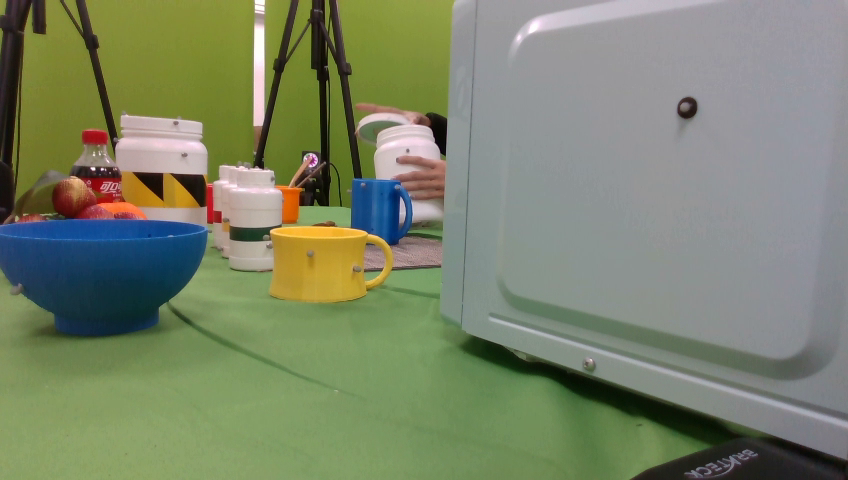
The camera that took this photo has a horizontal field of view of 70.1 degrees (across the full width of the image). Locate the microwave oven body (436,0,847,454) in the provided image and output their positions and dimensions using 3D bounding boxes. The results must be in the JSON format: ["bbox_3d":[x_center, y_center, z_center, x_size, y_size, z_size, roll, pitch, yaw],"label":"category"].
[{"bbox_3d":[0.279,-0.040,0.464,0.444,0.260,0.324,-3,9,-41],"label":"microwave oven body"}]

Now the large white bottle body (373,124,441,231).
[{"bbox_3d":[-0.029,-0.117,1.157,0.131,0.184,0.130,-7,-7,-1],"label":"large white bottle body"}]

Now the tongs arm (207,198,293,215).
[{"bbox_3d":[-0.423,-0.084,1.472,0.050,0.026,0.386,1,6,21],"label":"tongs arm"}]

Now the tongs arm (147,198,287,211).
[{"bbox_3d":[-0.503,-0.090,1.513,0.028,0.028,0.389,-1,4,38],"label":"tongs arm"}]

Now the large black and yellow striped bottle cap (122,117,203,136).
[{"bbox_3d":[-0.399,-0.174,0.927,0.115,0.019,0.115,5,9,-1],"label":"large black and yellow striped bottle cap"}]

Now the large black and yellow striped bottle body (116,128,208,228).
[{"bbox_3d":[-0.404,-0.089,0.937,0.131,0.184,0.130,3,7,0],"label":"large black and yellow striped bottle body"}]

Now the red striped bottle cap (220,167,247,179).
[{"bbox_3d":[-0.281,-0.099,0.901,0.044,0.017,0.044,-1,5,0],"label":"red striped bottle cap"}]

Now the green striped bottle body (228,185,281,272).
[{"bbox_3d":[-0.208,-0.023,0.745,0.063,0.119,0.063,2,7,0],"label":"green striped bottle body"}]

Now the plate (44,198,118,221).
[{"bbox_3d":[-0.617,-0.056,1.179,0.209,0.038,0.209,3,7,0],"label":"plate"}]

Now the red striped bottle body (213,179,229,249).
[{"bbox_3d":[-0.284,-0.048,0.909,0.063,0.119,0.063,3,10,0],"label":"red striped bottle body"}]

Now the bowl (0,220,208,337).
[{"bbox_3d":[-0.251,0.029,0.479,0.151,0.077,0.151,2,7,0],"label":"bowl"}]

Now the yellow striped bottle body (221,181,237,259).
[{"bbox_3d":[-0.244,-0.035,0.823,0.063,0.120,0.063,2,8,0],"label":"yellow striped bottle body"}]

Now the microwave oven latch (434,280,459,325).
[{"bbox_3d":[0.044,0.045,0.470,0.079,0.029,0.030,-2,8,-39],"label":"microwave oven latch"}]

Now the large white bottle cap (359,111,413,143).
[{"bbox_3d":[-0.080,-0.234,1.266,0.115,0.018,0.115,-2,-18,0],"label":"large white bottle cap"}]

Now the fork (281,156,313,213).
[{"bbox_3d":[-0.288,-0.117,1.319,0.028,0.019,0.207,-8,45,32],"label":"fork"}]

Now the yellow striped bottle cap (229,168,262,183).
[{"bbox_3d":[-0.241,-0.087,0.816,0.044,0.018,0.044,-2,5,1],"label":"yellow striped bottle cap"}]

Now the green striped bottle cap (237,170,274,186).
[{"bbox_3d":[-0.205,-0.075,0.737,0.044,0.020,0.044,1,6,0],"label":"green striped bottle cap"}]

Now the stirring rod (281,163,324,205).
[{"bbox_3d":[-0.278,-0.105,1.293,0.176,0.006,0.014,-47,25,-19],"label":"stirring rod"}]

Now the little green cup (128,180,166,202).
[{"bbox_3d":[-0.485,-0.087,1.062,0.061,0.038,0.061,-1,6,0],"label":"little green cup"}]

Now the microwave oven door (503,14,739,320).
[{"bbox_3d":[0.217,-0.065,0.600,0.358,0.243,0.039,-4,10,-41],"label":"microwave oven door"}]

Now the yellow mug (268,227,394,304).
[{"bbox_3d":[-0.094,0.023,0.629,0.131,0.064,0.099,0,7,-22],"label":"yellow mug"}]

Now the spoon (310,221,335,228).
[{"bbox_3d":[-0.185,-0.027,1.131,0.041,0.021,0.193,-18,6,2],"label":"spoon"}]

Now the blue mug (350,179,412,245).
[{"bbox_3d":[-0.068,-0.046,1.000,0.116,0.106,0.083,8,9,32],"label":"blue mug"}]
